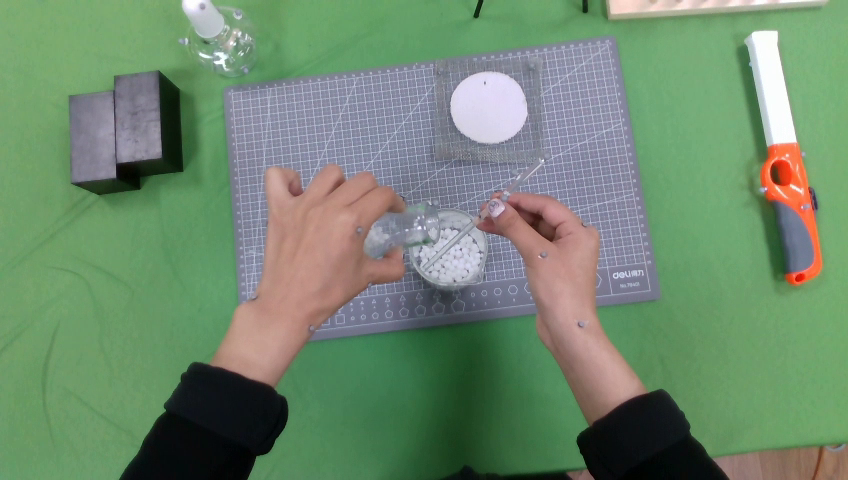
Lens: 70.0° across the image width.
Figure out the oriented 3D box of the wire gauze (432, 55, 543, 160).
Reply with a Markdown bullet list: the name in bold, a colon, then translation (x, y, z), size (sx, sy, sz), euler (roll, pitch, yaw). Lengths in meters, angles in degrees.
- **wire gauze**: translation (0.071, -0.150, 0.678), size (0.125, 0.011, 0.121), euler (1, 81, 0)

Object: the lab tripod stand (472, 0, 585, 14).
- **lab tripod stand**: translation (0.115, -0.308, 0.639), size (0.148, 0.132, 0.148), euler (0, 83, 3)

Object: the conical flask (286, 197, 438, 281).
- **conical flask**: translation (-0.050, -0.008, 0.524), size (0.121, 0.076, 0.075), euler (-8, 80, 21)

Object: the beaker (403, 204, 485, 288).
- **beaker**: translation (0.025, 0.012, 0.610), size (0.074, 0.100, 0.083), euler (-43, 82, -4)

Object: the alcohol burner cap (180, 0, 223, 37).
- **alcohol burner cap**: translation (-0.229, -0.235, 0.616), size (0.034, 0.048, 0.033), euler (-1, 75, 3)

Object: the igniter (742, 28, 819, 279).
- **igniter**: translation (0.381, -0.096, 0.649), size (0.057, 0.025, 0.275), euler (-4, 81, -8)

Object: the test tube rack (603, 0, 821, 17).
- **test tube rack**: translation (0.323, -0.301, 0.653), size (0.242, 0.085, 0.066), euler (-3, 81, 2)

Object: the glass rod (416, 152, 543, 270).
- **glass rod**: translation (0.041, -0.019, 0.530), size (0.008, 0.200, 0.008), euler (16, 55, -24)

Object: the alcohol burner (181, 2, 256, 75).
- **alcohol burner**: translation (-0.227, -0.227, 0.651), size (0.078, 0.119, 0.077), euler (-1, 82, 4)
